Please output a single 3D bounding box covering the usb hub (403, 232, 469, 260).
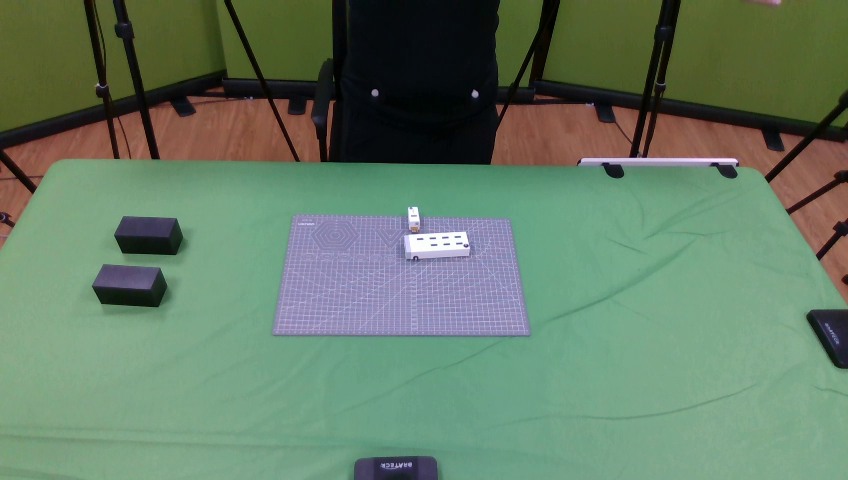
[{"bbox_3d":[0.023,0.012,1.182,0.125,0.025,0.049,-3,47,-7],"label":"usb hub"}]

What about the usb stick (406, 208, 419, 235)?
[{"bbox_3d":[-0.023,-0.037,1.225,0.021,0.027,0.059,0,49,-9],"label":"usb stick"}]
